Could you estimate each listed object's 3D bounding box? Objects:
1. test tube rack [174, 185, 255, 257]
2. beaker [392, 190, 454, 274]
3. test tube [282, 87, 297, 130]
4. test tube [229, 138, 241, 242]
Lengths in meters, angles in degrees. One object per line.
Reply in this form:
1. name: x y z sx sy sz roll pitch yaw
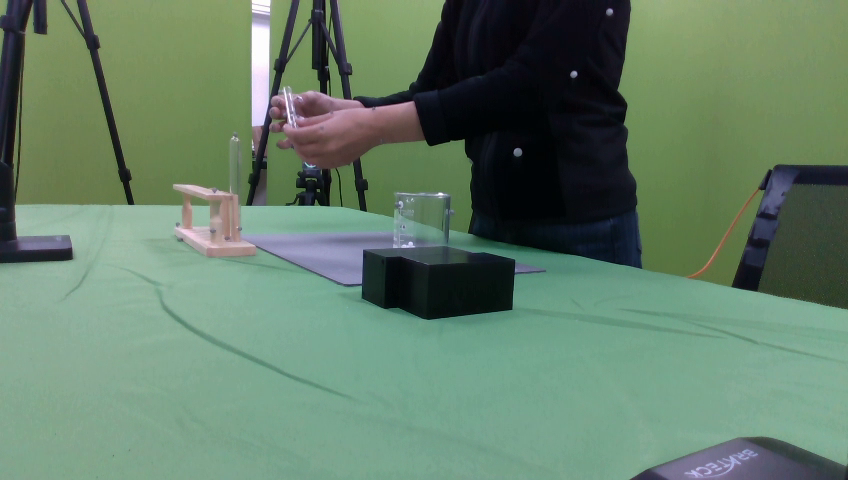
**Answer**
1. test tube rack: -0.324 -0.035 0.922 0.067 0.085 0.241 -2 9 -32
2. beaker: -0.005 -0.011 0.760 0.074 0.100 0.083 -2 8 -32
3. test tube: -0.215 -0.211 0.966 0.017 0.017 0.150 0 34 -16
4. test tube: -0.270 -0.071 0.866 0.017 0.150 0.017 2 8 0
